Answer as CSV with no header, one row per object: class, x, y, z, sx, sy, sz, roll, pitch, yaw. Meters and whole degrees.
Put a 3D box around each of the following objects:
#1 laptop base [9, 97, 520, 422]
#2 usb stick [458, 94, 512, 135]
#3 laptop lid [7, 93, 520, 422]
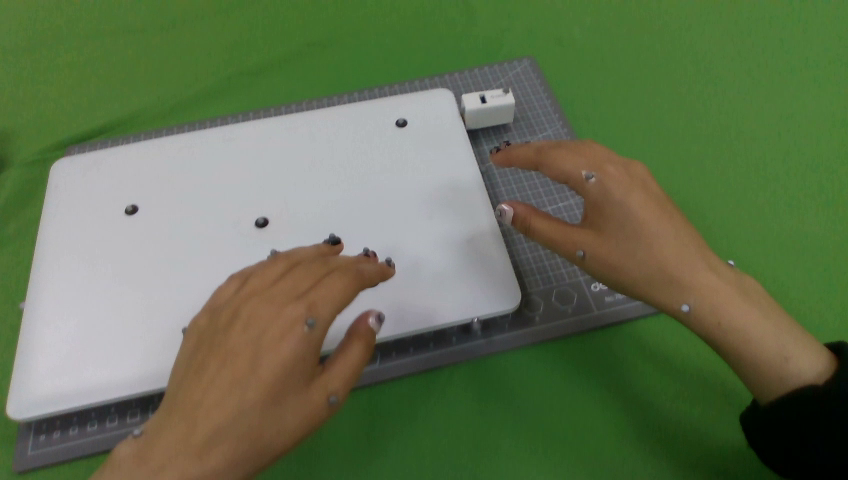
laptop base,-0.125,-0.003,0.481,0.355,0.023,0.233,-11,57,-5
usb stick,0.046,-0.110,0.536,0.059,0.027,0.021,-11,55,-2
laptop lid,-0.125,-0.008,0.470,0.357,0.013,0.239,-10,56,-4
